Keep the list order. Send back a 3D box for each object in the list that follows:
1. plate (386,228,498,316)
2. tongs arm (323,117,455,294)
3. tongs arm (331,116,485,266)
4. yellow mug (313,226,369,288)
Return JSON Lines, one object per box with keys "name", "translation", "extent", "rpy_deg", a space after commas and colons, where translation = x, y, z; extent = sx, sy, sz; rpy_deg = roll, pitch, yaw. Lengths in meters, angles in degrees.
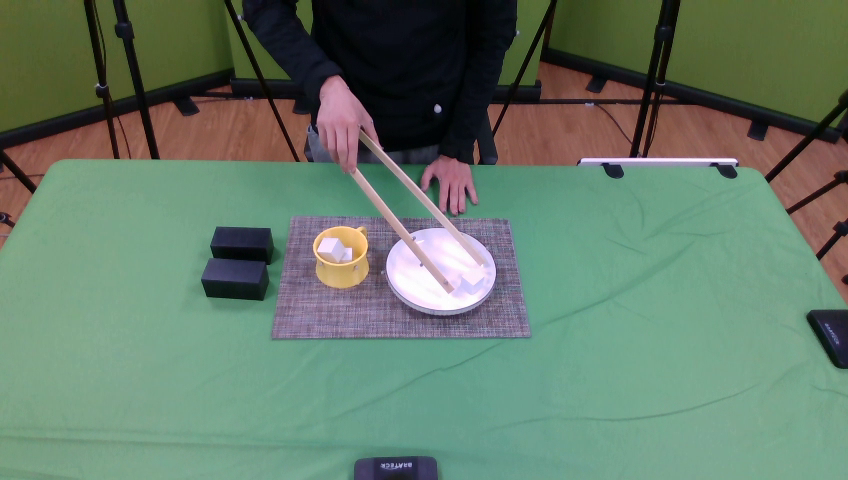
{"name": "plate", "translation": [0.033, 0.062, 1.126], "extent": [0.208, 0.039, 0.206], "rpy_deg": [2, 46, -2]}
{"name": "tongs arm", "translation": [-0.062, -0.064, 1.098], "extent": [0.384, 0.026, 0.050], "rpy_deg": [49, 57, 3]}
{"name": "tongs arm", "translation": [-0.028, -0.091, 1.128], "extent": [0.387, 0.028, 0.028], "rpy_deg": [45, 60, 0]}
{"name": "yellow mug", "translation": [-0.146, 0.021, 1.131], "extent": [0.099, 0.064, 0.130], "rpy_deg": [24, 49, 19]}
